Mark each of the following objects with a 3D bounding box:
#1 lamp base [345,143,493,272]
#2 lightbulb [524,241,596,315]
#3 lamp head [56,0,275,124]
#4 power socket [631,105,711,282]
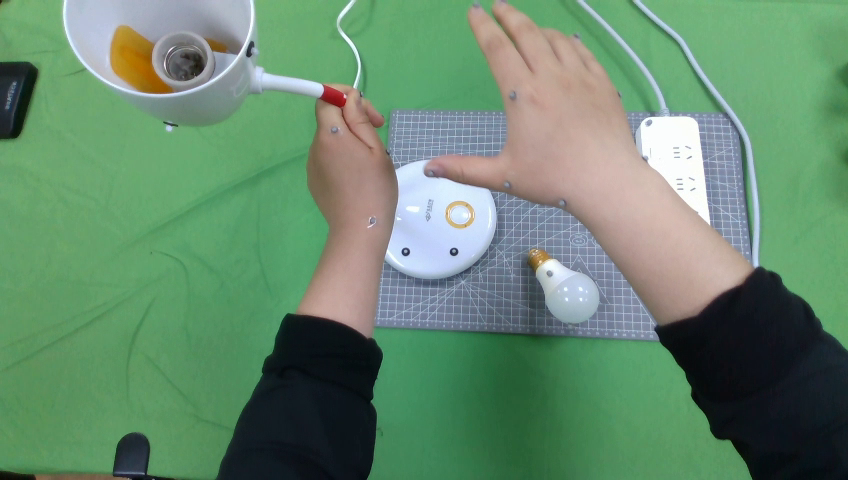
[{"bbox_3d":[-0.014,-0.061,0.683,0.179,0.181,0.159,-5,72,7],"label":"lamp base"},{"bbox_3d":[0.154,0.041,0.706,0.059,0.060,0.106,-34,57,-6],"label":"lightbulb"},{"bbox_3d":[-0.164,-0.130,0.418,0.112,0.123,0.112,0,80,-2],"label":"lamp head"},{"bbox_3d":[0.297,-0.062,0.735,0.072,0.033,0.225,0,72,4],"label":"power socket"}]
